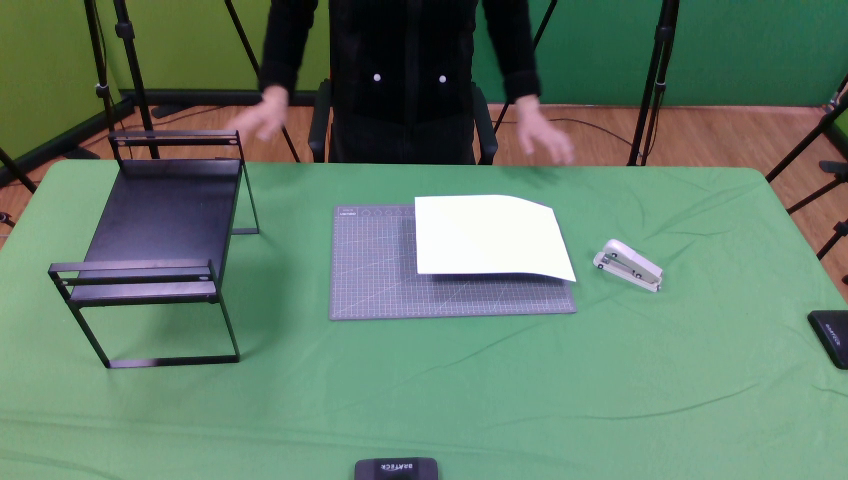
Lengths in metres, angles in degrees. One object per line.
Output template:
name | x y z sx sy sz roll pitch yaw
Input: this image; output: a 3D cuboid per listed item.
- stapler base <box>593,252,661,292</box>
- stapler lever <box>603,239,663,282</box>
stapler base | 0.395 0.054 1.174 0.130 0.024 0.041 27 52 18
stapler lever | 0.398 0.037 1.155 0.117 0.040 0.027 27 53 18
